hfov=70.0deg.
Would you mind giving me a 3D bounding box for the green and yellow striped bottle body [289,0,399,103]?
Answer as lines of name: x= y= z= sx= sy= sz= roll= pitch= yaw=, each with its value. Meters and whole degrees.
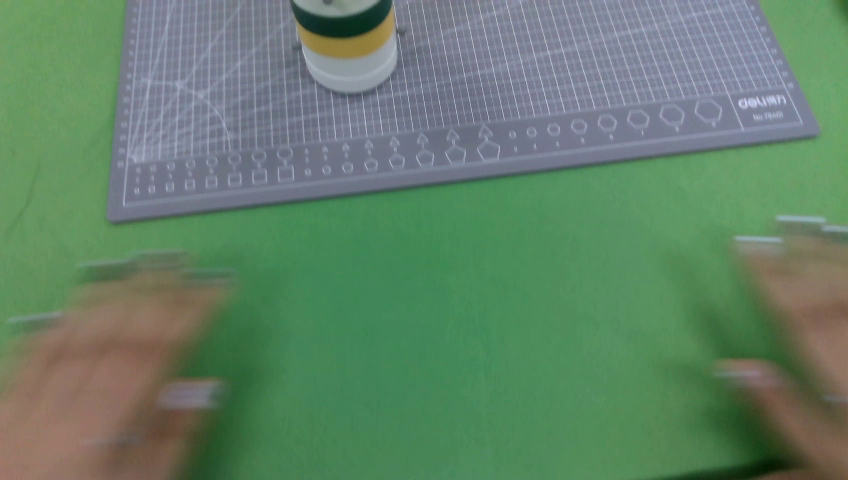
green and yellow striped bottle body: x=-0.049 y=-0.144 z=0.363 sx=0.063 sy=0.120 sz=0.062 roll=0 pitch=64 yaw=1
